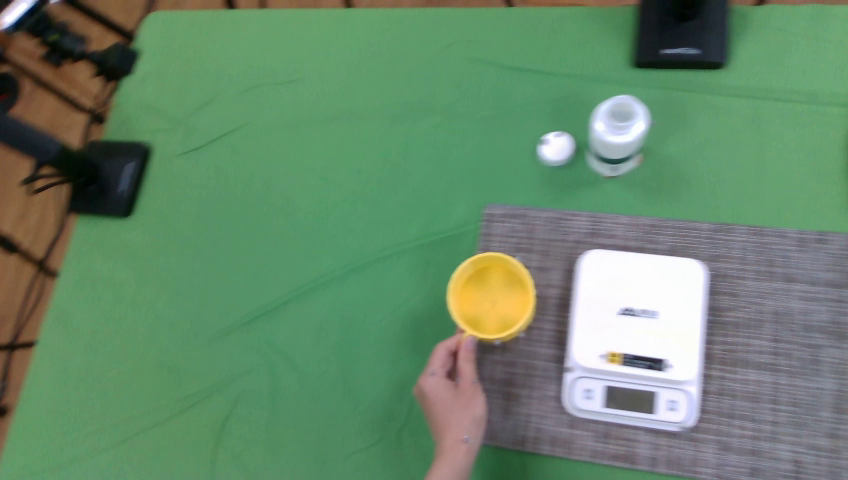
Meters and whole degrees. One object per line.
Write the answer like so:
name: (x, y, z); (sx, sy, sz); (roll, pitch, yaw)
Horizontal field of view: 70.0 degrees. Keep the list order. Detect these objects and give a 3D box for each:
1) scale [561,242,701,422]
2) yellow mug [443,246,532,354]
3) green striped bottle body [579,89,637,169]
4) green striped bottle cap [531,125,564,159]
scale: (0.245, 0.104, 0.715); (0.148, 0.032, 0.200); (5, 76, 13)
yellow mug: (0.069, 0.076, 0.715); (0.099, 0.064, 0.130); (27, 85, 15)
green striped bottle body: (0.226, -0.139, 0.747); (0.063, 0.120, 0.063); (-3, 72, 11)
green striped bottle cap: (0.167, -0.132, 0.814); (0.044, 0.020, 0.044); (-2, 79, 11)
